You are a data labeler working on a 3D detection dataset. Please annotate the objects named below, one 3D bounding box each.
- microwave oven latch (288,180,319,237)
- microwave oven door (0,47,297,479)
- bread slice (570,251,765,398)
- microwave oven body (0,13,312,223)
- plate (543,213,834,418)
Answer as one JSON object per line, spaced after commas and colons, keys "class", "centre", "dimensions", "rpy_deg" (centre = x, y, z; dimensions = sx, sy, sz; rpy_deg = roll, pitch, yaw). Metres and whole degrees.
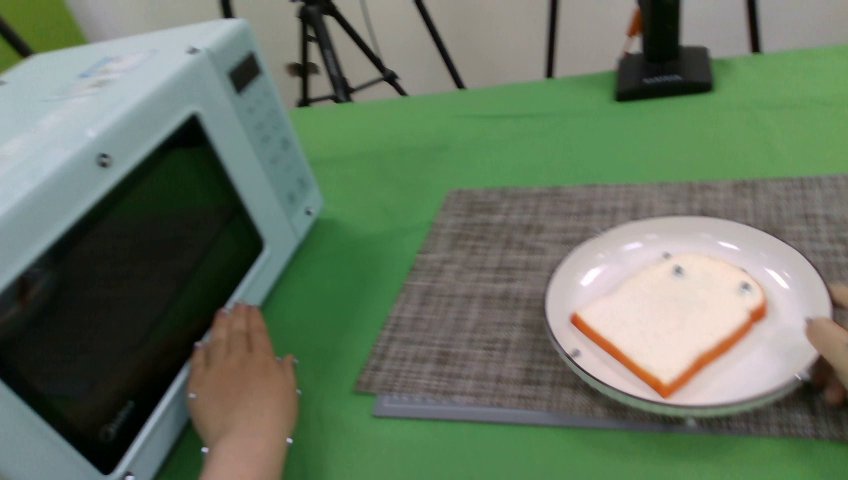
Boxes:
{"class": "microwave oven latch", "centre": [-0.152, -0.037, 0.722], "dimensions": [0.030, 0.030, 0.078], "rpy_deg": [-1, 41, 21]}
{"class": "microwave oven door", "centre": [-0.232, 0.028, 0.503], "dimensions": [0.039, 0.246, 0.353], "rpy_deg": [-2, 40, 20]}
{"class": "bread slice", "centre": [0.199, 0.056, 0.487], "dimensions": [0.131, 0.019, 0.103], "rpy_deg": [-31, 39, -16]}
{"class": "microwave oven body", "centre": [-0.358, 0.010, 0.587], "dimensions": [0.325, 0.263, 0.438], "rpy_deg": [-2, 41, 20]}
{"class": "plate", "centre": [0.201, 0.056, 0.483], "dimensions": [0.209, 0.038, 0.207], "rpy_deg": [-12, 38, 10]}
